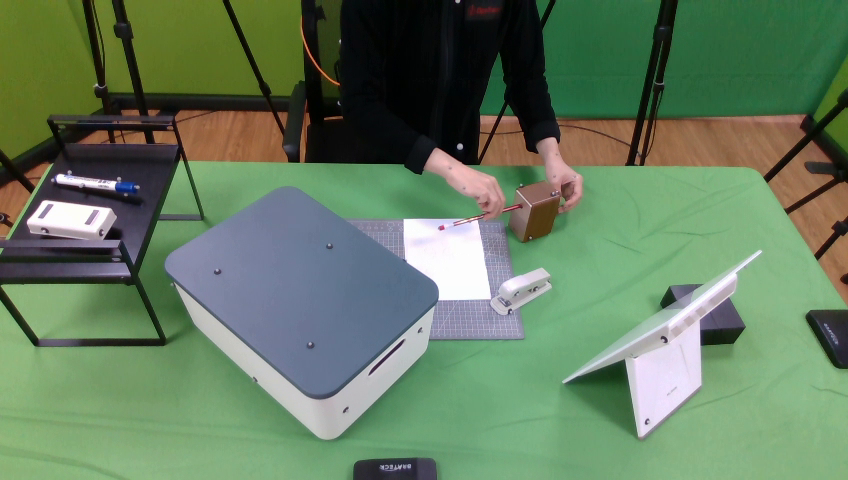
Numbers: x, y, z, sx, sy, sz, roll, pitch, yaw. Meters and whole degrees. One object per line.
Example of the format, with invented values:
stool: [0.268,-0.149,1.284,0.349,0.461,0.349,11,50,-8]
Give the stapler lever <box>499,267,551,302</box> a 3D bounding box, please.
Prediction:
stapler lever: [0.185,0.076,1.101,0.118,0.040,0.026,-25,57,-29]

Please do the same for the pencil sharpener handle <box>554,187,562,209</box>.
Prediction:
pencil sharpener handle: [0.267,-0.083,1.222,0.031,0.068,0.036,-18,54,-21]

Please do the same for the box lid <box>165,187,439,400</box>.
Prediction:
box lid: [-0.186,0.060,0.925,0.370,0.015,0.263,32,53,25]

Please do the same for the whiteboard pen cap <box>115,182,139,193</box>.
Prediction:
whiteboard pen cap: [-0.483,-0.086,0.984,0.033,0.018,0.018,7,46,10]

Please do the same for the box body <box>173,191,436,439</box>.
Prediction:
box body: [-0.191,0.110,0.979,0.362,0.161,0.254,33,53,24]

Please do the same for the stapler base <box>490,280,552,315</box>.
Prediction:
stapler base: [0.181,0.094,1.118,0.130,0.024,0.041,-24,57,-29]

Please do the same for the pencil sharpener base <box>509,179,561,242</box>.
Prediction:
pencil sharpener base: [0.222,-0.059,1.212,0.077,0.107,0.061,-18,49,-21]

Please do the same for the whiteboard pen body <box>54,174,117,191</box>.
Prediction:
whiteboard pen body: [-0.541,-0.093,0.993,0.140,0.017,0.017,7,46,9]

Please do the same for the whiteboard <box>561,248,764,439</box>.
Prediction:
whiteboard: [0.386,0.176,0.905,0.217,0.306,0.143,-26,72,-27]

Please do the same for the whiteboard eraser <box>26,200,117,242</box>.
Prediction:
whiteboard eraser: [-0.532,-0.026,0.919,0.113,0.042,0.055,7,45,3]

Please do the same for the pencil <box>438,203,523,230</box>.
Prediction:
pencil: [0.115,-0.048,1.156,0.194,0.012,0.012,-16,50,-17]
